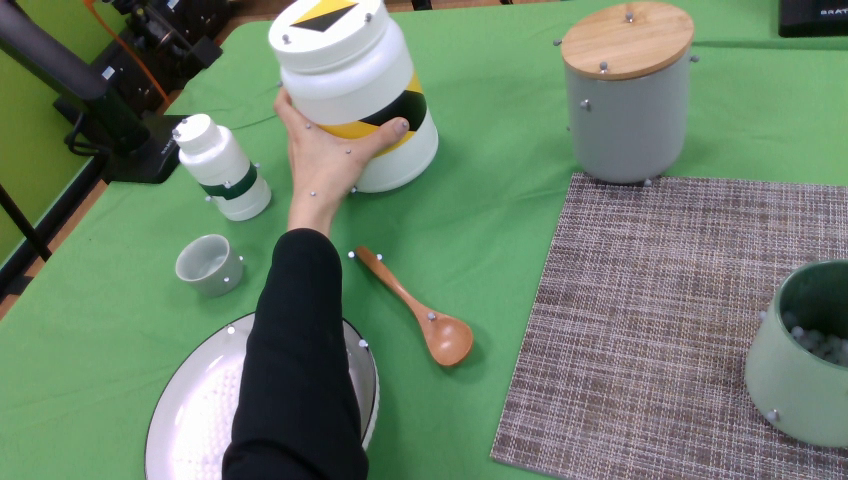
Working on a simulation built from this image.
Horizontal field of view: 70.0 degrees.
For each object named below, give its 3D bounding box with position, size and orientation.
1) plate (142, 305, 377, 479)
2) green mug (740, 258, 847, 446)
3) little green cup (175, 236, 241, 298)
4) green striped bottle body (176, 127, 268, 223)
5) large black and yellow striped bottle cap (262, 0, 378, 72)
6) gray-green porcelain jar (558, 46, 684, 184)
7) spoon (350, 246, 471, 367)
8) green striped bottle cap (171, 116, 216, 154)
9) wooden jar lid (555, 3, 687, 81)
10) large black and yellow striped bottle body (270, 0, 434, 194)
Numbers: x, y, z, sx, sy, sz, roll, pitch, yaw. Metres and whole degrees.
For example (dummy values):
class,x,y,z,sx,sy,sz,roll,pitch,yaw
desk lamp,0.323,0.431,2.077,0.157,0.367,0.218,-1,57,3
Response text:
class,x,y,z,sx,sy,sz,roll,pitch,yaw
plate,-0.135,0.152,0.517,0.209,0.038,0.207,-10,50,12
green mug,0.270,0.079,0.379,0.124,0.106,0.092,27,65,35
little green cup,-0.229,0.031,0.648,0.061,0.039,0.061,-11,48,12
green striped bottle body,-0.232,-0.079,0.685,0.063,0.120,0.062,-10,50,13
large black and yellow striped bottle cap,-0.100,-0.204,0.582,0.115,0.019,0.114,-11,48,12
gray-green porcelain jar,0.184,-0.125,0.565,0.106,0.128,0.105,-9,46,10
spoon,-0.020,0.053,0.566,0.041,0.022,0.191,-49,51,0
green striped bottle cap,-0.246,-0.112,0.647,0.044,0.020,0.044,-8,52,11
wooden jar lid,0.168,-0.167,0.521,0.108,0.021,0.107,-12,47,14
large black and yellow striped bottle body,-0.075,-0.154,0.644,0.130,0.186,0.129,-11,49,13
